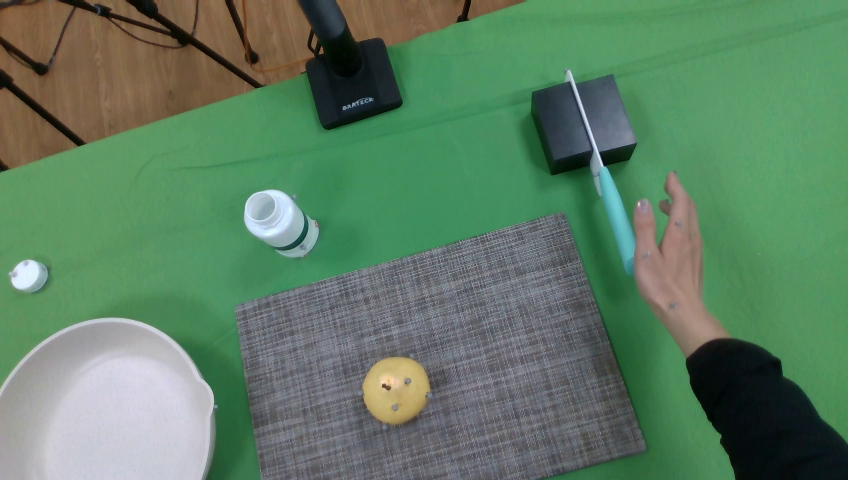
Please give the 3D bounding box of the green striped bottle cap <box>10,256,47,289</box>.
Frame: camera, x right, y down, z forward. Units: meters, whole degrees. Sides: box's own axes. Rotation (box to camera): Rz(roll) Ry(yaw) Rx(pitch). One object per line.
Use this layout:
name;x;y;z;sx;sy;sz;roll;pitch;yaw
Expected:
green striped bottle cap;-0.551;0.046;0.843;0.044;0.020;0.044;-2;74;8

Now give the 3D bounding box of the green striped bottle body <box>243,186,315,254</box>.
green striped bottle body;-0.185;-0.027;0.764;0.063;0.120;0.063;-2;73;7

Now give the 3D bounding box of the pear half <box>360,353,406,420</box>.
pear half;-0.049;0.167;0.694;0.056;0.110;0.076;-11;68;4

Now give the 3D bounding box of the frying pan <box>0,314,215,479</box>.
frying pan;-0.355;0.327;0.696;0.307;0.103;0.483;-21;65;2

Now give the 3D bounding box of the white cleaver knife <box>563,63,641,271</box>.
white cleaver knife;0.218;-0.096;0.759;0.021;0.066;0.284;-15;71;10

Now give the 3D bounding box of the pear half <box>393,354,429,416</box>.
pear half;-0.012;0.165;0.701;0.031;0.088;0.070;-12;69;5
